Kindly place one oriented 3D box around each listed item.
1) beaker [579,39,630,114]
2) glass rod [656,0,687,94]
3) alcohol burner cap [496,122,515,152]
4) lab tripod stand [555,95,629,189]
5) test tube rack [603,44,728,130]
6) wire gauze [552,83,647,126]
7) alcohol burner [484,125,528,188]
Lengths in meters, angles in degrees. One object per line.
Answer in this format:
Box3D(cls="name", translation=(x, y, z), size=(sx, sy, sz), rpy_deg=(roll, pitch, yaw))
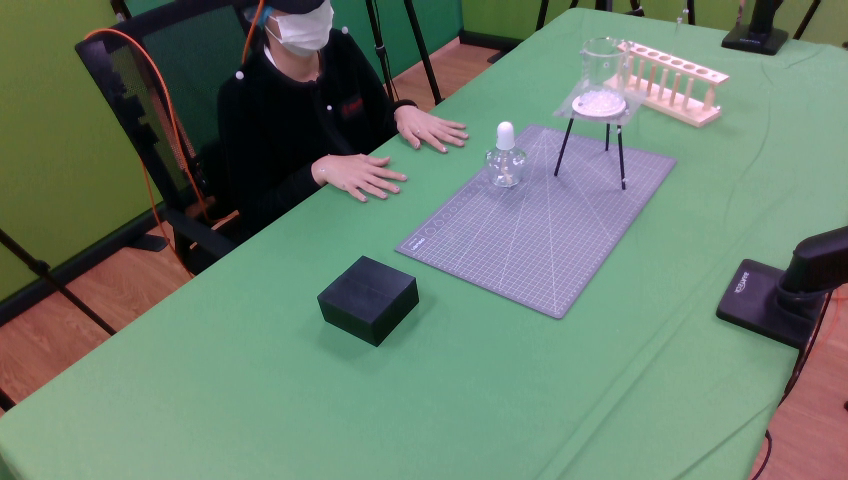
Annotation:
Box3D(cls="beaker", translation=(0.289, -0.263, 0.975), size=(0.073, 0.101, 0.084), rpy_deg=(17, 45, 27))
Box3D(cls="glass rod", translation=(0.491, -0.381, 1.199), size=(0.008, 0.200, 0.008), rpy_deg=(1, 41, 0))
Box3D(cls="alcohol burner cap", translation=(0.139, -0.179, 1.037), size=(0.034, 0.048, 0.033), rpy_deg=(-4, 44, 4))
Box3D(cls="lab tripod stand", translation=(0.300, -0.174, 1.045), size=(0.148, 0.132, 0.147), rpy_deg=(-5, 38, 5))
Box3D(cls="test tube rack", translation=(0.480, -0.316, 1.227), size=(0.067, 0.085, 0.240), rpy_deg=(-28, 44, -22))
Box3D(cls="wire gauze", translation=(0.293, -0.224, 1.004), size=(0.120, 0.011, 0.125), rpy_deg=(19, 43, 26))
Box3D(cls="alcohol burner", translation=(0.144, -0.152, 1.059), size=(0.078, 0.119, 0.077), rpy_deg=(-3, 41, 3))
